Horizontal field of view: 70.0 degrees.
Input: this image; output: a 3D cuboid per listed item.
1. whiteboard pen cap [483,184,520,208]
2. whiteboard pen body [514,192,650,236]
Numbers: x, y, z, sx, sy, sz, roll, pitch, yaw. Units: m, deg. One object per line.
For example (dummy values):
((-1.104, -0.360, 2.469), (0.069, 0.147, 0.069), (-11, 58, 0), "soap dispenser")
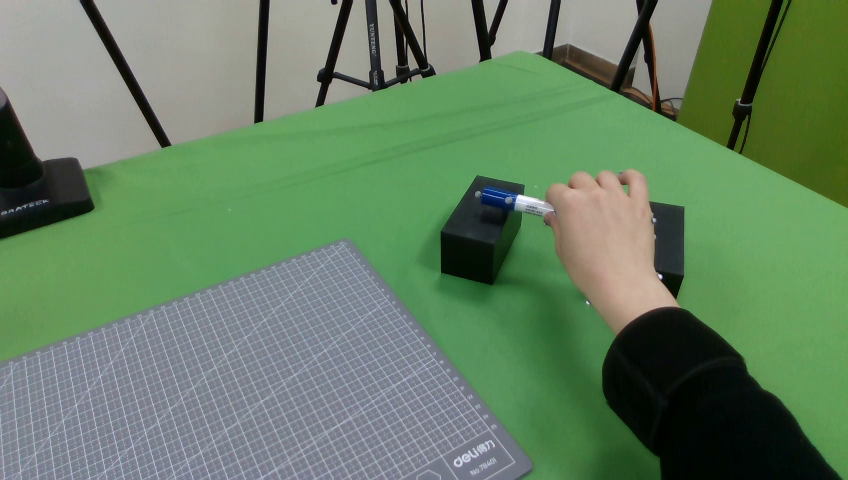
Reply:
((0.071, -0.039, 0.547), (0.033, 0.018, 0.018), (16, 42, 15), "whiteboard pen cap")
((0.126, -0.026, 0.532), (0.140, 0.017, 0.017), (14, 41, 15), "whiteboard pen body")
